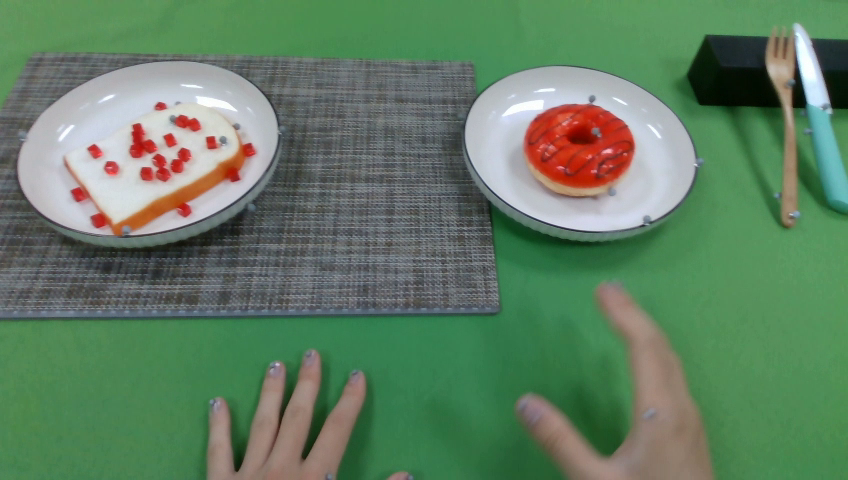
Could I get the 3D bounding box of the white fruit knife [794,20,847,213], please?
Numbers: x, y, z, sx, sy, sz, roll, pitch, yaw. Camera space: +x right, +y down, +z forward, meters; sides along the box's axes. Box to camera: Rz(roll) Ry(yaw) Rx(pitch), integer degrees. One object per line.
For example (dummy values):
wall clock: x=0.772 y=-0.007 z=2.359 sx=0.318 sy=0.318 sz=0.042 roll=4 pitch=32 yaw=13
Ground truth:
white fruit knife: x=0.376 y=-0.122 z=0.575 sx=0.027 sy=0.016 sz=0.206 roll=1 pitch=71 yaw=-6

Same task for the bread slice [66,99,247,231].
bread slice: x=-0.223 y=-0.074 z=0.518 sx=0.131 sy=0.019 sz=0.104 roll=-36 pitch=65 yaw=-24

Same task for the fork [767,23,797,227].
fork: x=0.336 y=-0.110 z=0.561 sx=0.028 sy=0.019 sz=0.206 roll=9 pitch=72 yaw=-3

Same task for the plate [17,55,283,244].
plate: x=-0.226 y=-0.078 z=0.518 sx=0.209 sy=0.038 sz=0.207 roll=2 pitch=55 yaw=-2

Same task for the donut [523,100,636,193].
donut: x=0.137 y=-0.085 z=0.539 sx=0.099 sy=0.048 sz=0.098 roll=1 pitch=56 yaw=-1

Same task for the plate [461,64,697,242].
plate: x=0.136 y=-0.079 z=0.549 sx=0.208 sy=0.039 sz=0.205 roll=2 pitch=54 yaw=-3
